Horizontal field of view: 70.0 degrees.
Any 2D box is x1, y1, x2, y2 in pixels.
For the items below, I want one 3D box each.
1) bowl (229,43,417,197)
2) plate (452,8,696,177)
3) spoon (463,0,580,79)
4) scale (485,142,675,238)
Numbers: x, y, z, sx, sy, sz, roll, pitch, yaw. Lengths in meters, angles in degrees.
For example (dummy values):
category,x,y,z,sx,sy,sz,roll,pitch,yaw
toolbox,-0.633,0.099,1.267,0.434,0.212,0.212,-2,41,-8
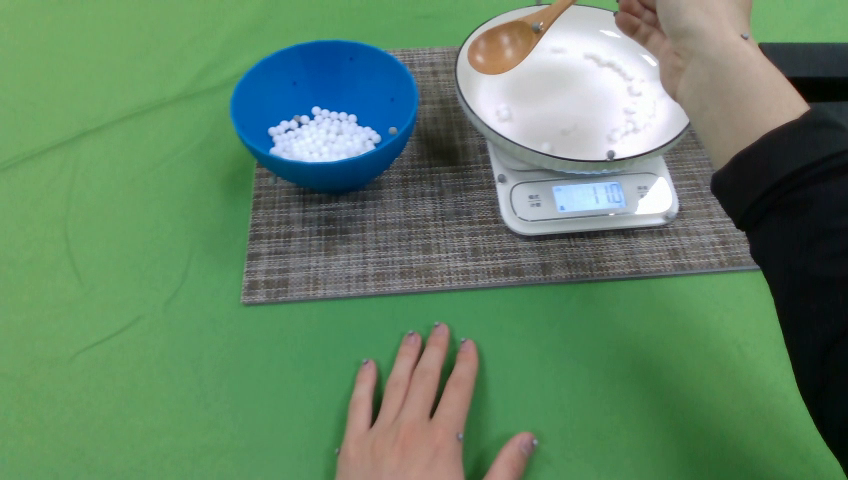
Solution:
category,x,y,z,sx,sy,sz,roll,pitch,yaw
bowl,-0.080,-0.089,0.516,0.151,0.077,0.150,0,54,1
plate,0.127,-0.129,0.532,0.209,0.038,0.207,1,54,-1
spoon,0.115,-0.180,0.451,0.193,0.022,0.041,-30,69,21
scale,0.129,-0.092,0.545,0.149,0.032,0.199,-4,54,-3
